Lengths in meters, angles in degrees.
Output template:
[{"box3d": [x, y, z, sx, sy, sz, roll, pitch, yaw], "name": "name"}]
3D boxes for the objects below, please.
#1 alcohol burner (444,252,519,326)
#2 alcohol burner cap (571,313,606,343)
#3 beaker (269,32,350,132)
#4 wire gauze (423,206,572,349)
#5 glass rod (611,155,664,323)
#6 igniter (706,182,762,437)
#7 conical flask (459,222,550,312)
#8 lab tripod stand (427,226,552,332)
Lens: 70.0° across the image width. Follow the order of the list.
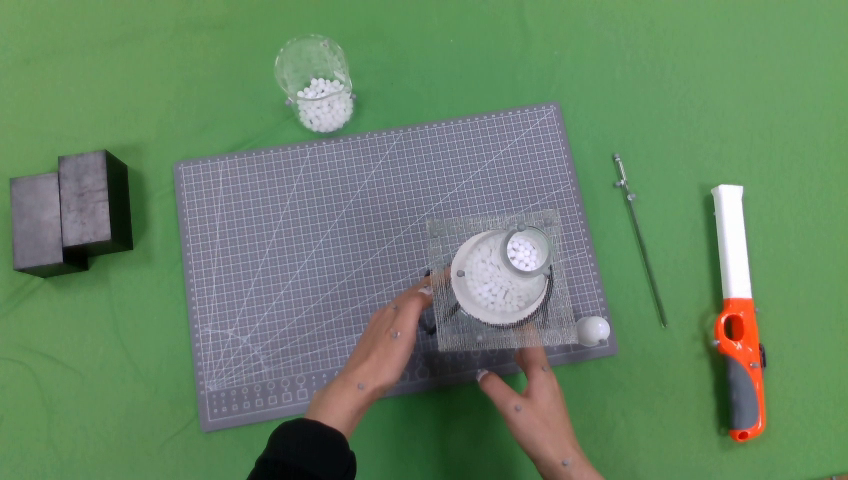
[{"box3d": [0.059, 0.047, 0.612, 0.078, 0.119, 0.077, 0, 79, 1], "name": "alcohol burner"}, {"box3d": [0.177, 0.092, 0.643, 0.034, 0.048, 0.033, 0, 78, 0], "name": "alcohol burner cap"}, {"box3d": [-0.117, -0.166, 0.661, 0.084, 0.100, 0.074, 25, 79, 3], "name": "beaker"}, {"box3d": [0.065, 0.033, 0.538, 0.125, 0.011, 0.121, -4, 81, -4], "name": "wire gauze"}, {"box3d": [0.240, -0.004, 0.684, 0.008, 0.008, 0.198, -11, 78, -4], "name": "glass rod"}, {"box3d": [0.336, 0.071, 0.662, 0.057, 0.025, 0.275, 3, 78, -11], "name": "igniter"}, {"box3d": [0.069, 0.017, 0.481, 0.075, 0.122, 0.075, 0, 80, -2], "name": "conical flask"}, {"box3d": [0.066, 0.048, 0.602, 0.148, 0.132, 0.148, 0, 80, -1], "name": "lab tripod stand"}]
